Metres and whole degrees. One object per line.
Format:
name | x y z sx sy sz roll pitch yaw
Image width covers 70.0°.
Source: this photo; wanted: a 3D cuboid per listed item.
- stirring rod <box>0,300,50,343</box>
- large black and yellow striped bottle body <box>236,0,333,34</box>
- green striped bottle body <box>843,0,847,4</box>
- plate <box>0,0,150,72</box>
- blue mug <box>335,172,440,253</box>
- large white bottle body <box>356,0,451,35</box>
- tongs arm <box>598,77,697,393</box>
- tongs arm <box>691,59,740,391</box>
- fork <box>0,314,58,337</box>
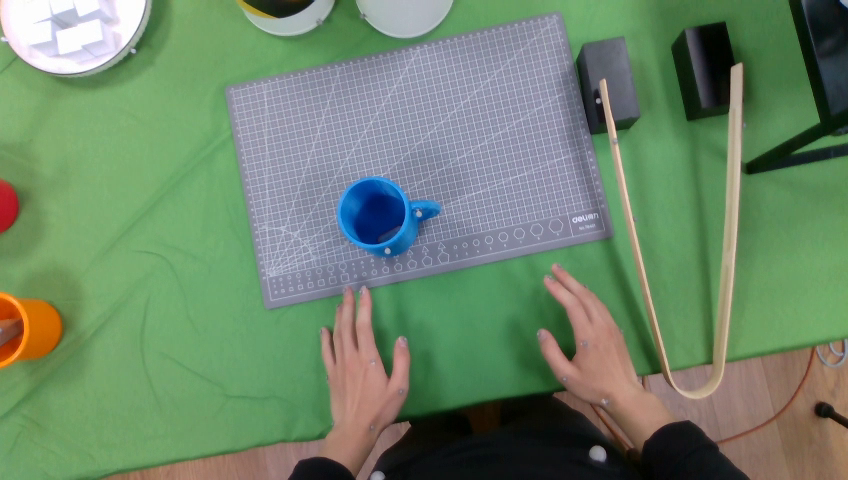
stirring rod | -0.525 0.129 0.721 0.014 0.006 0.175 35 45 3
large black and yellow striped bottle body | -0.187 -0.344 0.721 0.131 0.184 0.130 0 84 4
green striped bottle body | 0.422 -0.258 0.527 0.063 0.119 0.063 0 84 4
plate | -0.462 -0.322 0.809 0.207 0.039 0.207 0 85 3
blue mug | -0.039 -0.032 0.720 0.116 0.106 0.082 -11 83 2
large white bottle body | -0.033 -0.339 0.710 0.130 0.185 0.130 0 84 4
tongs arm | 0.265 -0.005 0.716 0.051 0.026 0.385 -11 93 1
tongs arm | 0.347 -0.013 0.713 0.028 0.027 0.387 3 94 -3
fork | -0.556 0.097 0.720 0.209 0.018 0.028 11 81 -39
